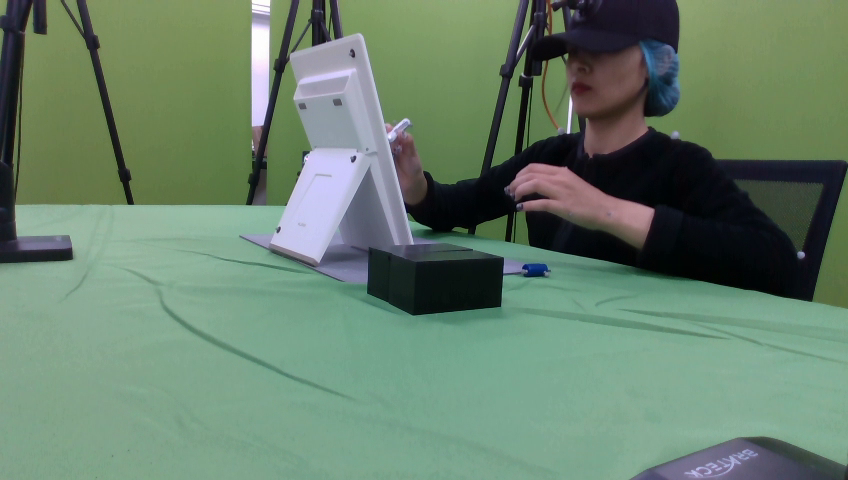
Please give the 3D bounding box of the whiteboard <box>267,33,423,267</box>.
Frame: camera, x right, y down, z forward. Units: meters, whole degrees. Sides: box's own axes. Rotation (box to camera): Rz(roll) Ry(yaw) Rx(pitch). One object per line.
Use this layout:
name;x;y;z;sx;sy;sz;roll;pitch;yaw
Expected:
whiteboard;-0.153;-0.098;0.819;0.144;0.305;0.216;-25;21;-29

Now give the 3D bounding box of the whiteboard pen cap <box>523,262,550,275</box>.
whiteboard pen cap;0.145;0.037;0.776;0.033;0.018;0.018;1;7;-30

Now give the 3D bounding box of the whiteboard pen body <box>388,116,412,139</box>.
whiteboard pen body;-0.041;-0.179;0.967;0.017;0.017;0.141;3;23;11
